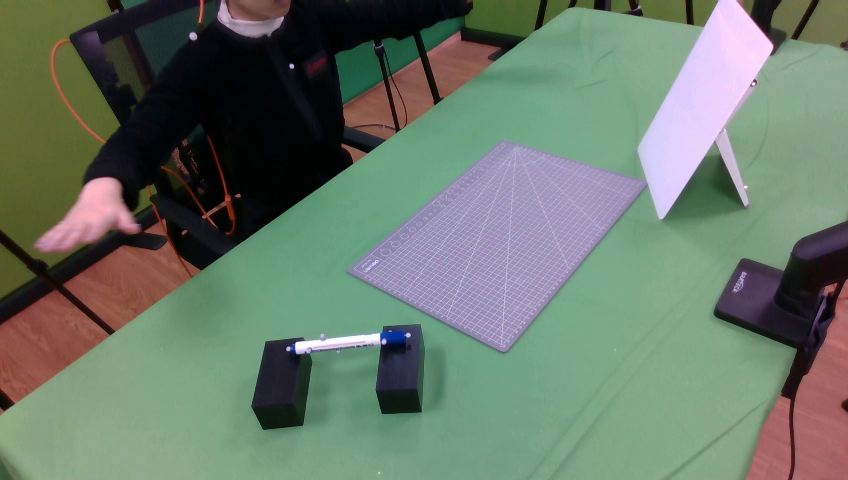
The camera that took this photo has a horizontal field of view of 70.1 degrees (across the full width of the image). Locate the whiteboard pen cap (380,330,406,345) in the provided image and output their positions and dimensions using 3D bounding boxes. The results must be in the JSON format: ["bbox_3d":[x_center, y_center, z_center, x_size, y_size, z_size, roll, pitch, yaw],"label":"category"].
[{"bbox_3d":[-0.040,0.123,0.760,0.033,0.018,0.018,-6,40,2],"label":"whiteboard pen cap"}]

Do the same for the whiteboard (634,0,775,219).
[{"bbox_3d":[0.485,-0.193,0.957,0.144,0.305,0.216,14,41,-4],"label":"whiteboard"}]

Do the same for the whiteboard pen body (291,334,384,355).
[{"bbox_3d":[-0.098,0.131,0.762,0.141,0.017,0.017,-5,41,1],"label":"whiteboard pen body"}]
